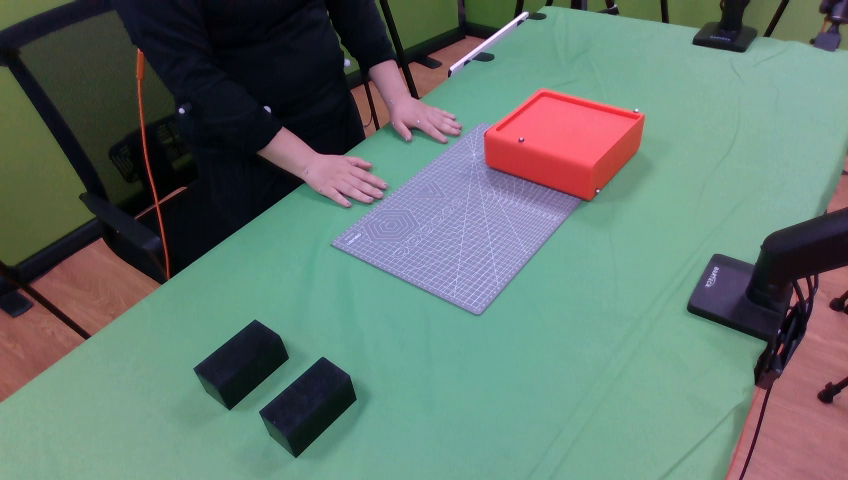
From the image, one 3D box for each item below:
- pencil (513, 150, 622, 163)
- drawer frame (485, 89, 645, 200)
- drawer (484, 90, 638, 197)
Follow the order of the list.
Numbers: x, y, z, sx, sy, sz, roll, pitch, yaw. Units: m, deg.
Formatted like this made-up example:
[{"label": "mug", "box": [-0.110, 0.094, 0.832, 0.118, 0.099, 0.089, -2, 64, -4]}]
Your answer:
[{"label": "pencil", "box": [0.260, -0.150, 1.099, 0.194, 0.012, 0.012, -4, 40, 7]}, {"label": "drawer frame", "box": [0.253, -0.180, 1.094, 0.212, 0.083, 0.202, 24, 48, 31]}, {"label": "drawer", "box": [0.247, -0.180, 1.097, 0.210, 0.073, 0.195, 25, 49, 31]}]
